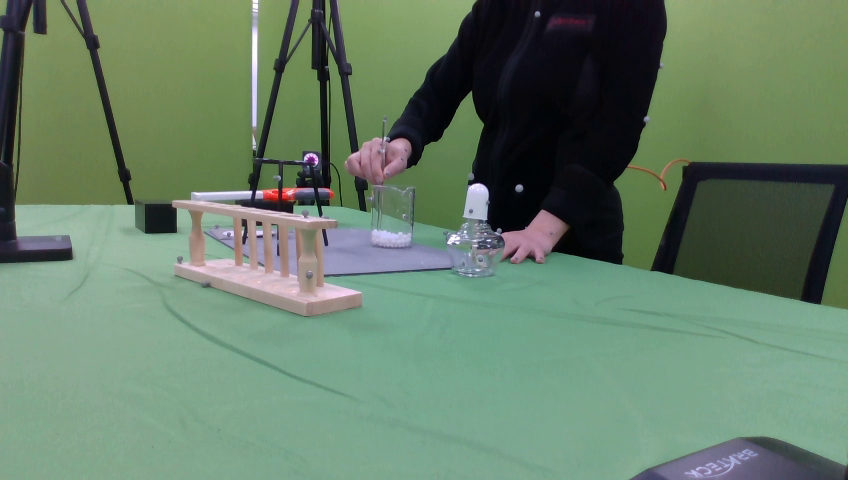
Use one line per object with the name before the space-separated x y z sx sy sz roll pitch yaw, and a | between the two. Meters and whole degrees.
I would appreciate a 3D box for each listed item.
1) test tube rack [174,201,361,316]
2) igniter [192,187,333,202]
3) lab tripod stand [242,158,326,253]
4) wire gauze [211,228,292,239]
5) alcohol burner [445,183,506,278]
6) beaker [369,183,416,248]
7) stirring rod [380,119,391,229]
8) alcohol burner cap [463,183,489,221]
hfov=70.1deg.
test tube rack | -0.169 0.010 0.622 0.241 0.085 0.067 9 9 41
igniter | -0.316 -0.090 1.213 0.278 0.025 0.057 -5 13 -31
lab tripod stand | -0.207 -0.054 0.895 0.148 0.131 0.148 3 5 0
wire gauze | -0.298 -0.013 1.039 0.122 0.011 0.124 -2 6 -27
alcohol burner | 0.066 -0.013 0.770 0.078 0.119 0.078 0 7 0
beaker | -0.050 -0.039 0.971 0.074 0.100 0.083 -1 9 -25
stirring rod | -0.061 -0.104 0.966 0.014 0.176 0.006 6 12 34
alcohol burner cap | 0.067 -0.048 0.765 0.034 0.048 0.034 5 5 0
